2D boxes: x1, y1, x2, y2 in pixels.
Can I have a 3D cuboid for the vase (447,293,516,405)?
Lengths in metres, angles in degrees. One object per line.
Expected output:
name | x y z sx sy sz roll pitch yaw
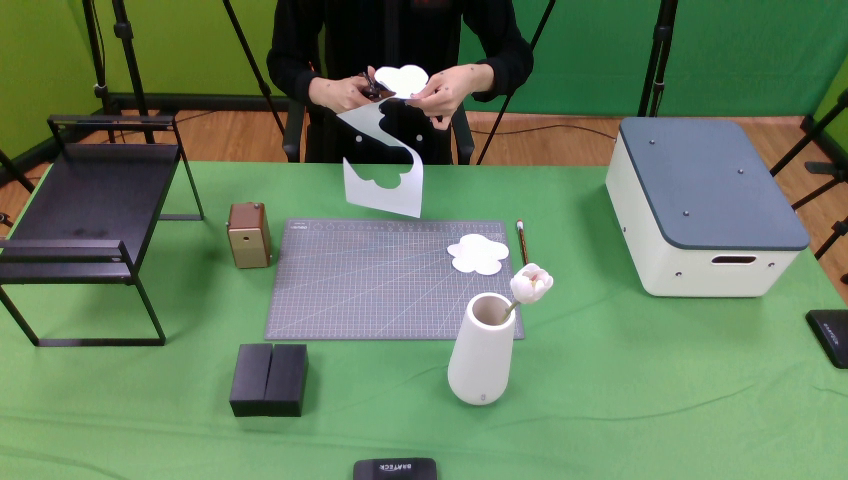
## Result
vase | 0.091 0.169 0.921 0.098 0.201 0.097 3 47 -3

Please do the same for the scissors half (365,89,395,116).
scissors half | -0.076 -0.248 1.075 0.013 0.040 0.175 -23 9 -17

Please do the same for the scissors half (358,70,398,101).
scissors half | -0.083 -0.268 1.067 0.013 0.040 0.174 -27 36 -15

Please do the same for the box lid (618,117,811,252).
box lid | 0.534 -0.117 1.149 0.263 0.015 0.369 0 47 -3

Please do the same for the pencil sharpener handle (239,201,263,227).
pencil sharpener handle | -0.324 -0.056 1.150 0.036 0.068 0.030 -14 46 4

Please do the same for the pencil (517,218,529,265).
pencil | 0.201 0.028 1.196 0.012 0.012 0.193 1 48 -3

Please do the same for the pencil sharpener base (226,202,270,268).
pencil sharpener base | -0.323 -0.010 1.123 0.061 0.107 0.076 -3 46 -7

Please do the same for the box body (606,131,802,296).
box body | 0.530 -0.067 1.204 0.254 0.161 0.361 0 46 -4

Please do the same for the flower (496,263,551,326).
flower | 0.102 0.120 0.853 0.044 0.363 0.038 -2 64 -10
